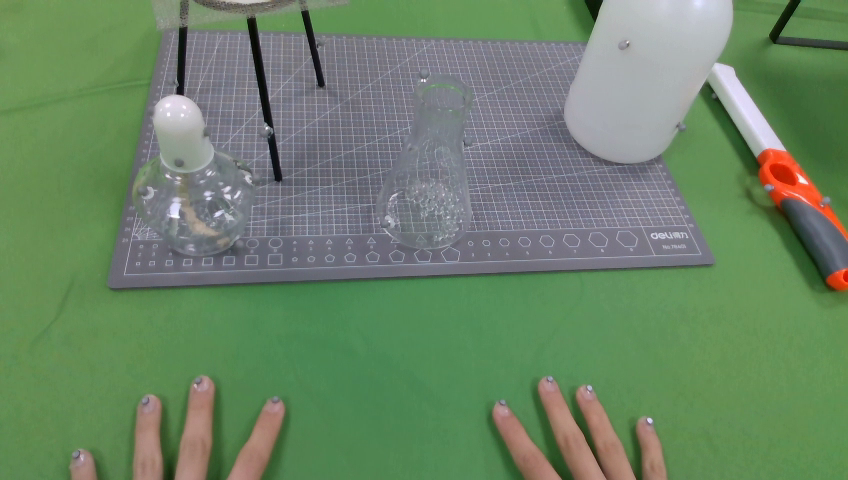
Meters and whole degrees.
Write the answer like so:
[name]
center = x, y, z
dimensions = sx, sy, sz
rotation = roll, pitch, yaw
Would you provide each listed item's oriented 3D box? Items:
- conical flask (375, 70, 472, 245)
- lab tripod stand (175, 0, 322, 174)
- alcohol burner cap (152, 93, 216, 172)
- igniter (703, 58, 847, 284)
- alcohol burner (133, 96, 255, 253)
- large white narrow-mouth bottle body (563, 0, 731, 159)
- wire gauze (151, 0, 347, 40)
[conical flask]
center = 0.005, -0.058, 0.427
dimensions = 0.075, 0.123, 0.074
rotation = 4, 52, -5
[lab tripod stand]
center = -0.131, -0.146, 0.466
dimensions = 0.149, 0.132, 0.147
rotation = 6, 52, -7
[alcohol burner cap]
center = -0.148, -0.067, 0.369
dimensions = 0.034, 0.048, 0.033
rotation = 4, 57, -6
[igniter]
center = 0.320, -0.075, 0.554
dimensions = 0.057, 0.025, 0.273
rotation = 6, 51, -18
[alcohol burner]
center = -0.153, -0.046, 0.398
dimensions = 0.078, 0.120, 0.077
rotation = 6, 50, -6
[large white narrow-mouth bottle body]
center = 0.186, -0.165, 0.493
dimensions = 0.102, 0.196, 0.101
rotation = 4, 52, -5
[wire gauze]
center = -0.127, -0.188, 0.416
dimensions = 0.122, 0.011, 0.124
rotation = -14, 60, -17
